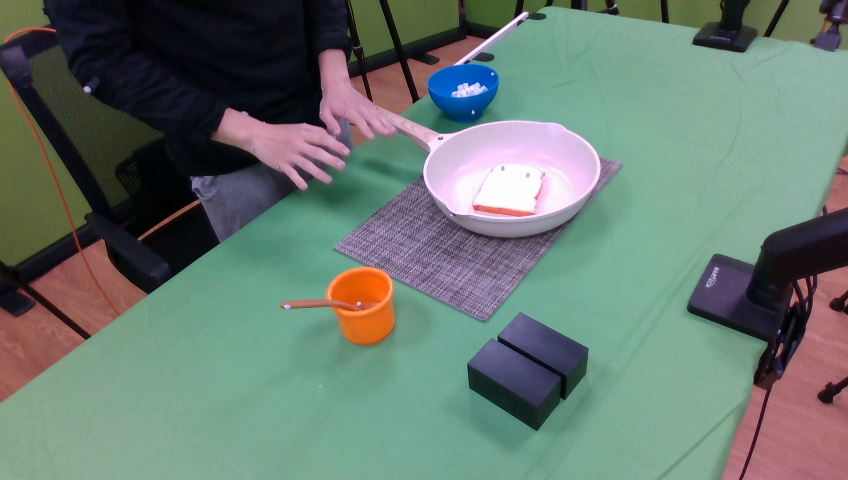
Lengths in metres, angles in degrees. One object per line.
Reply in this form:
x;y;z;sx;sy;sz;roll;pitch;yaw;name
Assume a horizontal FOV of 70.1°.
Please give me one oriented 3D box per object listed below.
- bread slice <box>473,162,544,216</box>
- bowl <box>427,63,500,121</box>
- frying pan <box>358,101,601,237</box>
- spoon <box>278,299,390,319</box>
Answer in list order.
0.150;-0.089;1.041;0.106;0.018;0.134;7;44;16;bread slice
0.083;-0.301;1.263;0.151;0.077;0.150;-4;41;4;bowl
0.067;-0.153;1.067;0.484;0.103;0.308;32;52;26;frying pan
-0.113;0.086;0.787;0.041;0.021;0.195;30;8;36;spoon
